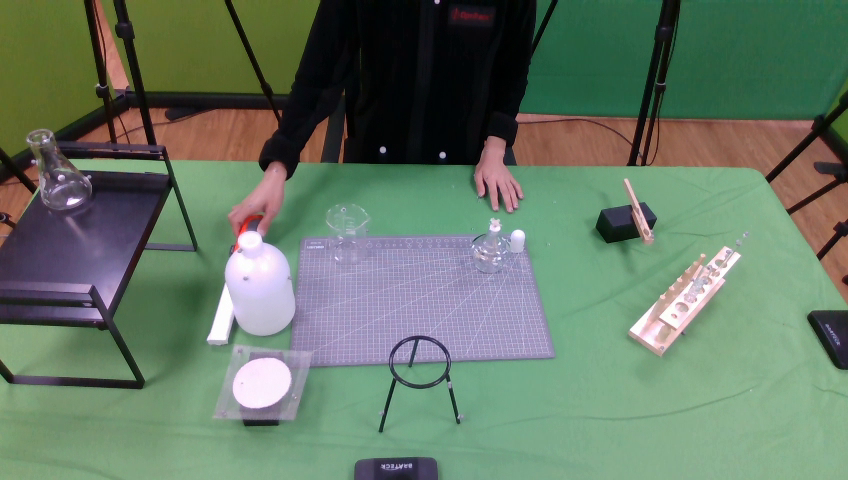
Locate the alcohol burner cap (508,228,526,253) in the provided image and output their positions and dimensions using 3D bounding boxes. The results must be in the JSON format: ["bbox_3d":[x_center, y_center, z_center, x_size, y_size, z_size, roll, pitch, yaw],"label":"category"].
[{"bbox_3d":[0.185,-0.002,1.192,0.034,0.048,0.033,3,44,-2],"label":"alcohol burner cap"}]

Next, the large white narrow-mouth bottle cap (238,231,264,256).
[{"bbox_3d":[-0.266,0.006,0.932,0.038,0.024,0.037,2,46,-2],"label":"large white narrow-mouth bottle cap"}]

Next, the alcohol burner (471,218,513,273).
[{"bbox_3d":[0.128,0.005,1.132,0.078,0.120,0.077,0,47,0],"label":"alcohol burner"}]

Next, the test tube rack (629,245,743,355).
[{"bbox_3d":[0.474,0.095,1.091,0.242,0.085,0.066,-34,56,-31],"label":"test tube rack"}]

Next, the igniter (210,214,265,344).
[{"bbox_3d":[-0.333,0.061,1.091,0.057,0.025,0.275,1,52,3],"label":"igniter"}]

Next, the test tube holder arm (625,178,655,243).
[{"bbox_3d":[0.433,-0.062,1.220,0.013,0.015,0.177,1,47,-3],"label":"test tube holder arm"}]

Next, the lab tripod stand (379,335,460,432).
[{"bbox_3d":[-0.011,0.214,0.911,0.148,0.132,0.147,1,45,0],"label":"lab tripod stand"}]

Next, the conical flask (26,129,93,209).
[{"bbox_3d":[-0.575,-0.113,0.946,0.075,0.122,0.075,2,46,-2],"label":"conical flask"}]

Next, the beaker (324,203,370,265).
[{"bbox_3d":[-0.142,-0.009,1.137,0.084,0.101,0.073,-2,47,-7],"label":"beaker"}]

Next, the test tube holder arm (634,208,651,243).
[{"bbox_3d":[0.428,-0.030,1.189,0.010,0.015,0.087,1,47,-2],"label":"test tube holder arm"}]

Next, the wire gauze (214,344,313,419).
[{"bbox_3d":[-0.241,0.213,0.915,0.121,0.011,0.124,5,46,1],"label":"wire gauze"}]

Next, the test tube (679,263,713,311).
[{"bbox_3d":[0.453,0.092,1.023,0.017,0.151,0.017,1,49,-1],"label":"test tube"}]

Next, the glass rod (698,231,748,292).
[{"bbox_3d":[0.514,0.044,1.051,0.008,0.200,0.008,1,55,-1],"label":"glass rod"}]

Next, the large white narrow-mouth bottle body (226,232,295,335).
[{"bbox_3d":[-0.270,0.065,0.995,0.102,0.195,0.101,2,46,-2],"label":"large white narrow-mouth bottle body"}]
